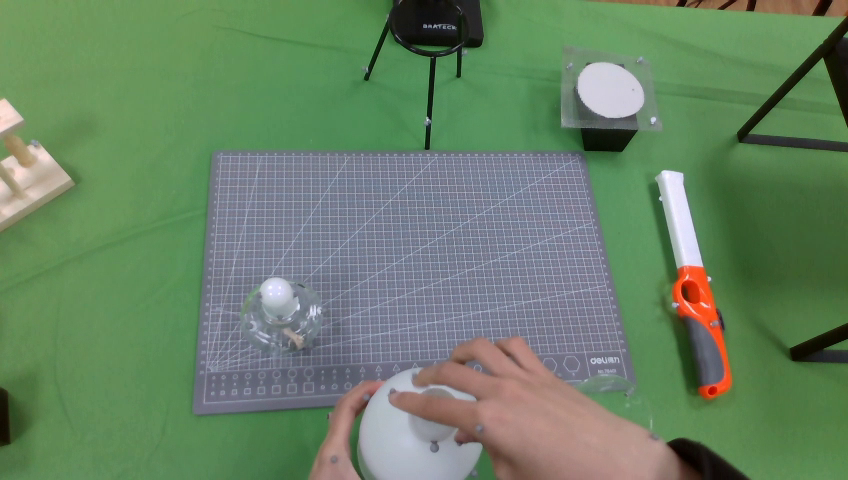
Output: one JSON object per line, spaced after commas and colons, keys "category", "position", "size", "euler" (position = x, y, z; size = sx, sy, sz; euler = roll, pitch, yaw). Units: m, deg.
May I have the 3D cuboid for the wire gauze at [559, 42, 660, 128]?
{"category": "wire gauze", "position": [0.226, -0.191, 0.750], "size": [0.121, 0.011, 0.124], "euler": [6, 64, -5]}

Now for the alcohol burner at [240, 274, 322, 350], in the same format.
{"category": "alcohol burner", "position": [-0.136, 0.062, 0.573], "size": [0.078, 0.120, 0.077], "euler": [4, 63, -8]}

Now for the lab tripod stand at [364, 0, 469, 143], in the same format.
{"category": "lab tripod stand", "position": [-0.001, -0.210, 0.712], "size": [0.149, 0.132, 0.147], "euler": [4, 65, -8]}

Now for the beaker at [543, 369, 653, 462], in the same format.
{"category": "beaker", "position": [0.157, 0.169, 0.576], "size": [0.084, 0.101, 0.073], "euler": [29, 64, 7]}

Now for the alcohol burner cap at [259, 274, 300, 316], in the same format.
{"category": "alcohol burner cap", "position": [-0.131, 0.048, 0.540], "size": [0.034, 0.048, 0.033], "euler": [1, 71, -4]}

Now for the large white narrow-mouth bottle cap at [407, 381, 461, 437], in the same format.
{"category": "large white narrow-mouth bottle cap", "position": [0.007, 0.119, 0.428], "size": [0.038, 0.024, 0.037], "euler": [3, 64, -6]}

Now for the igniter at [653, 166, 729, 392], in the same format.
{"category": "igniter", "position": [0.305, 0.037, 0.698], "size": [0.057, 0.025, 0.274], "euler": [6, 64, -17]}

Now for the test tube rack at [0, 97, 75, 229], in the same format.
{"category": "test tube rack", "position": [-0.483, -0.030, 0.585], "size": [0.066, 0.085, 0.242], "euler": [44, 67, 13]}

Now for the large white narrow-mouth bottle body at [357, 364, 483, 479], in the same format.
{"category": "large white narrow-mouth bottle body", "position": [-0.004, 0.158, 0.506], "size": [0.102, 0.196, 0.101], "euler": [3, 64, -6]}
